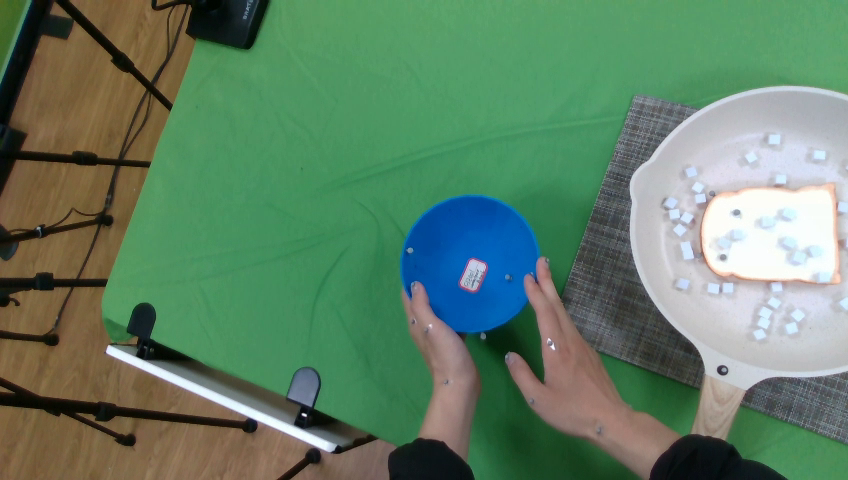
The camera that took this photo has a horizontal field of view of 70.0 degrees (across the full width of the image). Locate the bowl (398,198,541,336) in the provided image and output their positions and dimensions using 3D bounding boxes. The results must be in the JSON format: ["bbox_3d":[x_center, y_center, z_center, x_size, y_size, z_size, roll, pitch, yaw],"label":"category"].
[{"bbox_3d":[0.054,0.036,0.671,0.151,0.077,0.150,-3,76,10],"label":"bowl"}]

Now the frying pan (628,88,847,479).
[{"bbox_3d":[0.320,0.086,0.608,0.305,0.103,0.486,22,79,19],"label":"frying pan"}]

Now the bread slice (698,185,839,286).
[{"bbox_3d":[0.367,-0.002,0.650,0.134,0.018,0.106,-3,80,14],"label":"bread slice"}]
